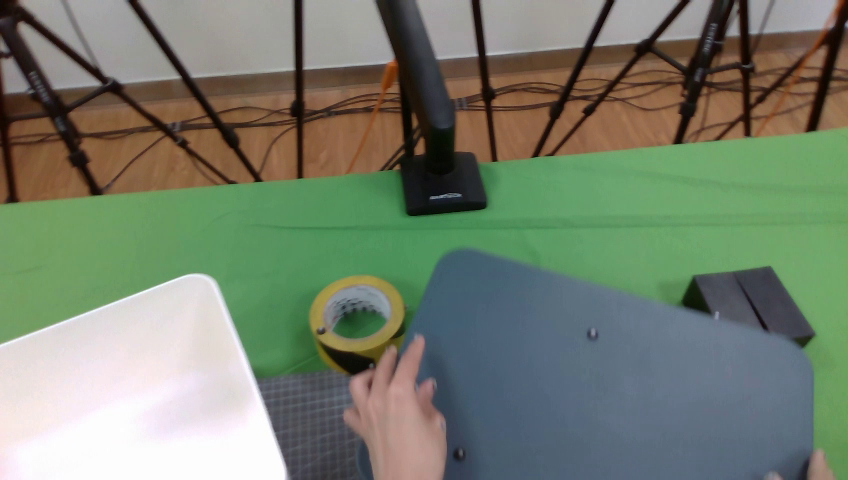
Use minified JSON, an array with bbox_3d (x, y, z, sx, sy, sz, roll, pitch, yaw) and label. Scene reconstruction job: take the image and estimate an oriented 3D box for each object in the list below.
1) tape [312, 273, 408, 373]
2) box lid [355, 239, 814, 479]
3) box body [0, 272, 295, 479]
[{"bbox_3d":[-0.076,0.097,0.723,0.117,0.053,0.115,0,47,0],"label":"tape"},{"bbox_3d":[0.151,0.146,0.536,0.370,0.015,0.261,16,57,10],"label":"box lid"},{"bbox_3d":[-0.313,0.223,0.546,0.364,0.162,0.251,-22,53,-17],"label":"box body"}]
